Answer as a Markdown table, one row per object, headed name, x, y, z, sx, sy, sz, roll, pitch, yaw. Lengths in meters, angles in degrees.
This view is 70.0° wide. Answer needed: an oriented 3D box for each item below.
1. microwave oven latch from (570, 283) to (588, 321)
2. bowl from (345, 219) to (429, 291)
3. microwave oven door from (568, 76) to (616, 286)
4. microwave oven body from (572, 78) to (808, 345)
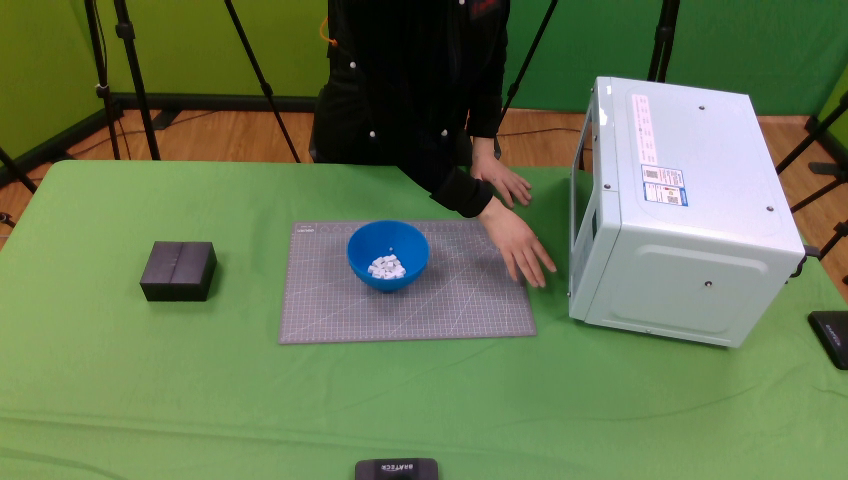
| name | x | y | z | sx | sy | sz | roll | pitch | yaw |
| --- | --- | --- | --- | --- | --- | --- | --- | --- | --- |
| microwave oven latch | 0.276 | 0.105 | 1.082 | 0.030 | 0.029 | 0.079 | 10 | 45 | 7 |
| bowl | -0.068 | 0.041 | 1.111 | 0.151 | 0.077 | 0.150 | 3 | 46 | -2 |
| microwave oven door | 0.319 | -0.119 | 1.161 | 0.039 | 0.245 | 0.354 | 9 | 46 | 5 |
| microwave oven body | 0.456 | -0.063 | 1.124 | 0.326 | 0.261 | 0.439 | 8 | 45 | 5 |
